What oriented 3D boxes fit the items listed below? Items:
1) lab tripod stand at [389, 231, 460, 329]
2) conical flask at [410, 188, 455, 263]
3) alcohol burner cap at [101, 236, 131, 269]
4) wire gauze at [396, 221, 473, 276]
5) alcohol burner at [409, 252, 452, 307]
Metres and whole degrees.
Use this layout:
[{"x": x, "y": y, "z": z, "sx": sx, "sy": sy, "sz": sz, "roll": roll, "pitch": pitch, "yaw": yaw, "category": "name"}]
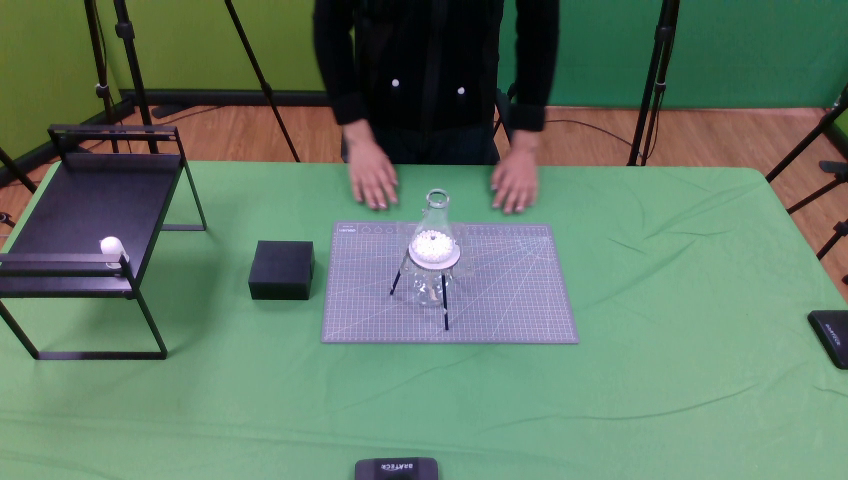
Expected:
[{"x": 0.015, "y": 0.063, "z": 1.058, "sx": 0.148, "sy": 0.132, "sz": 0.147, "roll": 4, "pitch": 46, "yaw": -4, "category": "lab tripod stand"}, {"x": 0.017, "y": -0.027, "z": 0.971, "sx": 0.075, "sy": 0.122, "sz": 0.075, "roll": 2, "pitch": 48, "yaw": -3, "category": "conical flask"}, {"x": -0.452, "y": 0.016, "z": 0.883, "sx": 0.034, "sy": 0.048, "sz": 0.033, "roll": 2, "pitch": 45, "yaw": -2, "category": "alcohol burner cap"}, {"x": 0.016, "y": 0.014, "z": 1.014, "sx": 0.125, "sy": 0.011, "sz": 0.120, "roll": -1, "pitch": 45, "yaw": -3, "category": "wire gauze"}, {"x": 0.013, "y": 0.063, "z": 1.071, "sx": 0.078, "sy": 0.119, "sz": 0.077, "roll": 4, "pitch": 45, "yaw": -3, "category": "alcohol burner"}]
